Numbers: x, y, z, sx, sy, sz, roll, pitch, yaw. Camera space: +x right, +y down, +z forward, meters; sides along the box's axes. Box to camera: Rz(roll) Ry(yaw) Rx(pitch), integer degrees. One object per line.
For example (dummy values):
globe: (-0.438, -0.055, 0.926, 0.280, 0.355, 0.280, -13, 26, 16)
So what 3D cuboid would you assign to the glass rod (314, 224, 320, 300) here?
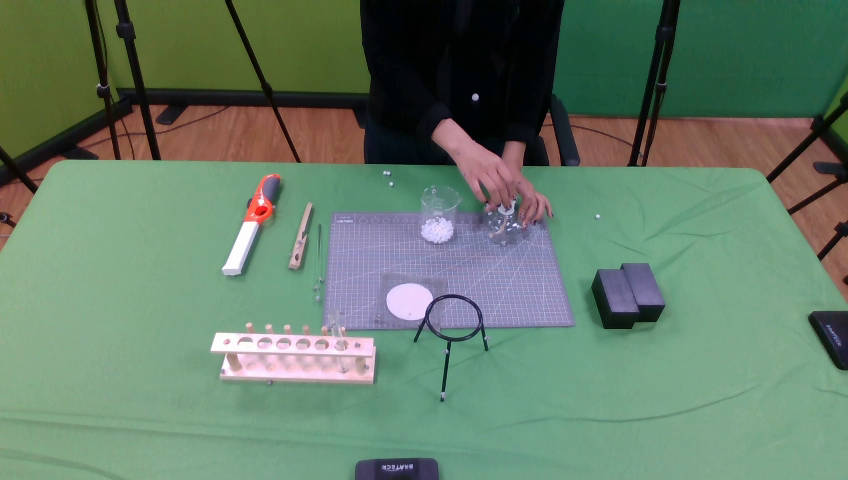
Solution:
glass rod: (-0.204, 0.038, 1.156, 0.008, 0.008, 0.198, -2, 44, -6)

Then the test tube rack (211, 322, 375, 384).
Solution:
test tube rack: (-0.202, 0.176, 0.969, 0.242, 0.085, 0.066, 3, 46, -2)

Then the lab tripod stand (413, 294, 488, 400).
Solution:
lab tripod stand: (0.044, 0.159, 0.972, 0.148, 0.132, 0.147, 2, 44, -2)

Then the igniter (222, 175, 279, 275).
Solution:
igniter: (-0.341, -0.039, 1.206, 0.057, 0.025, 0.275, -1, 45, 9)

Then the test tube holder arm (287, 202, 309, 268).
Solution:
test tube holder arm: (-0.247, -0.013, 1.193, 0.013, 0.015, 0.177, 29, 39, -26)

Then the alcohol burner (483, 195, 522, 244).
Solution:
alcohol burner: (0.158, -0.049, 1.193, 0.078, 0.119, 0.077, 4, 46, -4)

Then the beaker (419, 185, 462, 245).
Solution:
beaker: (0.029, -0.047, 1.191, 0.084, 0.101, 0.073, -5, 47, -10)

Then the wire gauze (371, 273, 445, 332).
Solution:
wire gauze: (-0.028, 0.108, 1.100, 0.125, 0.011, 0.121, 7, 45, 4)

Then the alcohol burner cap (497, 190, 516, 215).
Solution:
alcohol burner cap: (0.160, -0.074, 1.166, 0.034, 0.048, 0.033, 3, 49, -3)

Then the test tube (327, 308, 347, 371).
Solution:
test tube: (-0.132, 0.155, 0.926, 0.017, 0.151, 0.017, 0, 45, 0)

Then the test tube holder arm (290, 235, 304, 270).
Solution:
test tube holder arm: (-0.243, 0.021, 1.164, 0.010, 0.015, 0.087, 30, 39, -26)
